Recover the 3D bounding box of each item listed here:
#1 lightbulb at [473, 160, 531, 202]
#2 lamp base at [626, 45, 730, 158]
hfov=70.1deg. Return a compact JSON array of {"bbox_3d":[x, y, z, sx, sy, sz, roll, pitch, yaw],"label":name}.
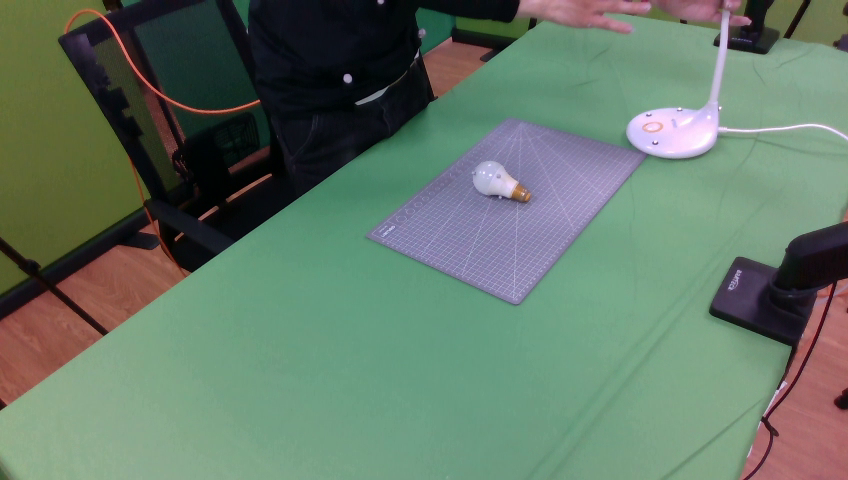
[{"bbox_3d":[0.134,-0.097,1.038,0.107,0.059,0.059,29,50,15],"label":"lightbulb"},{"bbox_3d":[0.467,-0.262,1.085,0.179,0.181,0.159,-5,41,-1],"label":"lamp base"}]
